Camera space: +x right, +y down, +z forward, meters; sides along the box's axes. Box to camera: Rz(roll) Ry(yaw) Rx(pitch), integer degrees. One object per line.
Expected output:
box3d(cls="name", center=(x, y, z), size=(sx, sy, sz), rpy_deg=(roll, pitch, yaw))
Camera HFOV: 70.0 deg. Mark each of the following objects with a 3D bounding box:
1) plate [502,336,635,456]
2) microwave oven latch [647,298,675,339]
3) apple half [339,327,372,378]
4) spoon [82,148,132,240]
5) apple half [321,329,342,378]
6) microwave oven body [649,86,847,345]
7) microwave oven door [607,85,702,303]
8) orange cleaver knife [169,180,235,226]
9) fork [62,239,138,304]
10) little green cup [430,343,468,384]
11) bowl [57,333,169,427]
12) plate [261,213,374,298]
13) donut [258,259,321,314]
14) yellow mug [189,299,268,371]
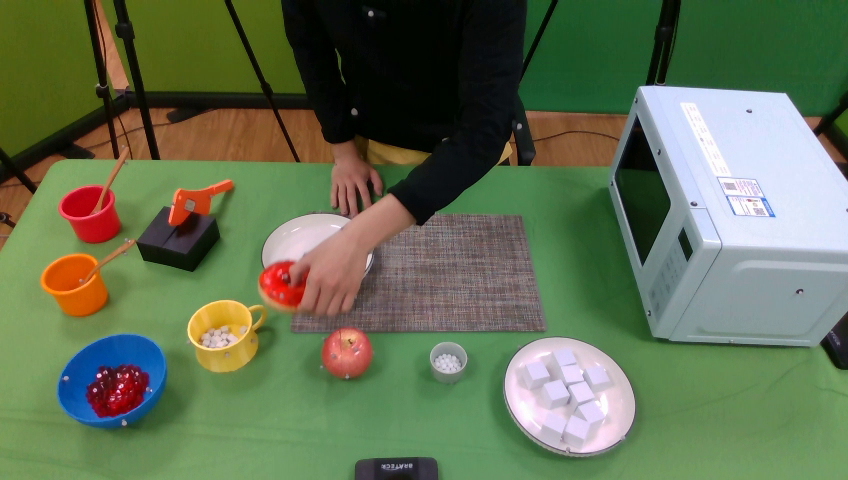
box3d(cls="plate", center=(0.225, 0.248, 0.964), size=(0.208, 0.039, 0.206), rpy_deg=(2, 46, -2))
box3d(cls="microwave oven latch", center=(0.413, 0.134, 1.061), size=(0.030, 0.029, 0.078), rpy_deg=(5, 45, 2))
box3d(cls="apple half", center=(-0.111, 0.182, 0.980), size=(0.053, 0.075, 0.080), rpy_deg=(-2, 43, -12))
box3d(cls="spoon", center=(-0.602, -0.088, 1.156), size=(0.041, 0.022, 0.194), rpy_deg=(28, 95, 24))
box3d(cls="apple half", center=(-0.149, 0.186, 0.972), size=(0.033, 0.081, 0.080), rpy_deg=(-2, 46, -12))
box3d(cls="microwave oven body", center=(0.568, -0.053, 1.118), size=(0.326, 0.261, 0.439), rpy_deg=(2, 45, -1))
box3d(cls="microwave oven door", center=(0.423, -0.094, 1.140), size=(0.039, 0.245, 0.353), rpy_deg=(2, 46, -1))
box3d(cls="orange cleaver knife", center=(-0.435, -0.076, 1.199), size=(0.012, 0.077, 0.211), rpy_deg=(17, 17, 9))
box3d(cls="fork", center=(-0.546, 0.053, 1.018), size=(0.207, 0.019, 0.028), rpy_deg=(-35, 41, 23))
box3d(cls="little green cup", center=(0.039, 0.203, 0.993), size=(0.061, 0.039, 0.061), rpy_deg=(2, 46, -2))
box3d(cls="bowl", center=(-0.456, 0.223, 0.912), size=(0.151, 0.077, 0.150), rpy_deg=(3, 45, -2))
box3d(cls="plate", center=(-0.198, 0.032, 1.137), size=(0.209, 0.038, 0.208), rpy_deg=(2, 46, -2))
box3d(cls="donut", center=(-0.209, 0.073, 0.946), size=(0.099, 0.048, 0.098), rpy_deg=(14, 41, -13))
box3d(cls="yellow mug", center=(-0.316, 0.148, 1.002), size=(0.131, 0.064, 0.099), rpy_deg=(-33, 56, -31))
